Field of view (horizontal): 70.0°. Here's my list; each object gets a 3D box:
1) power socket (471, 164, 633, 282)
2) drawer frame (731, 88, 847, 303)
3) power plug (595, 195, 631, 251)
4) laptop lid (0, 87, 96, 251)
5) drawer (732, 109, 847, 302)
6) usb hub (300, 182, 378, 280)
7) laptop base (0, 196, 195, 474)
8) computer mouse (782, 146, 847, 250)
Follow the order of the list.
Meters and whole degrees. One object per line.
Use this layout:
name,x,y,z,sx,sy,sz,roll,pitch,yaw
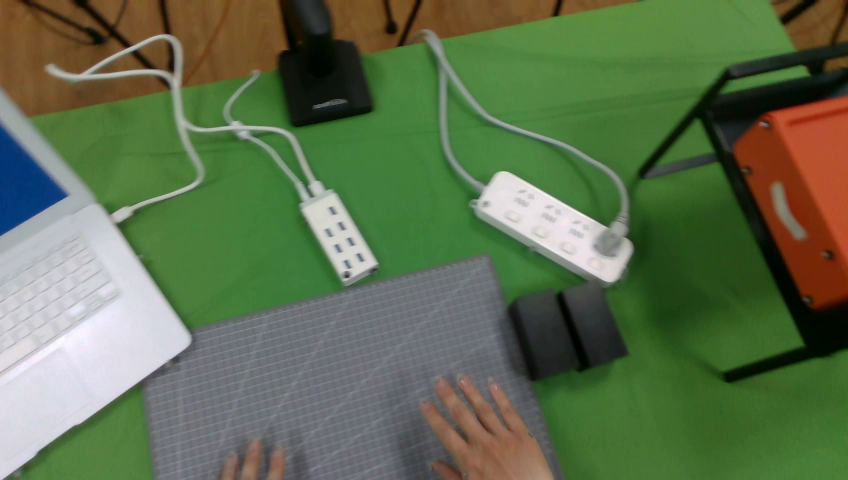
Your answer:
power socket,0.173,-0.023,0.810,0.226,0.033,0.072,31,70,7
drawer frame,0.467,-0.060,0.629,0.214,0.083,0.200,-15,72,-10
power plug,0.254,-0.016,0.794,0.035,0.053,0.072,41,70,11
laptop lid,-0.568,-0.021,0.637,0.356,0.244,0.013,-37,61,-14
drawer,0.464,-0.057,0.629,0.212,0.073,0.193,-14,71,-10
usb hub,-0.112,-0.012,0.788,0.049,0.025,0.124,-29,75,-13
laptop base,-0.481,0.129,0.712,0.354,0.023,0.234,-37,79,-15
computer mouse,0.435,-0.048,0.639,0.063,0.041,0.116,-19,70,-6
